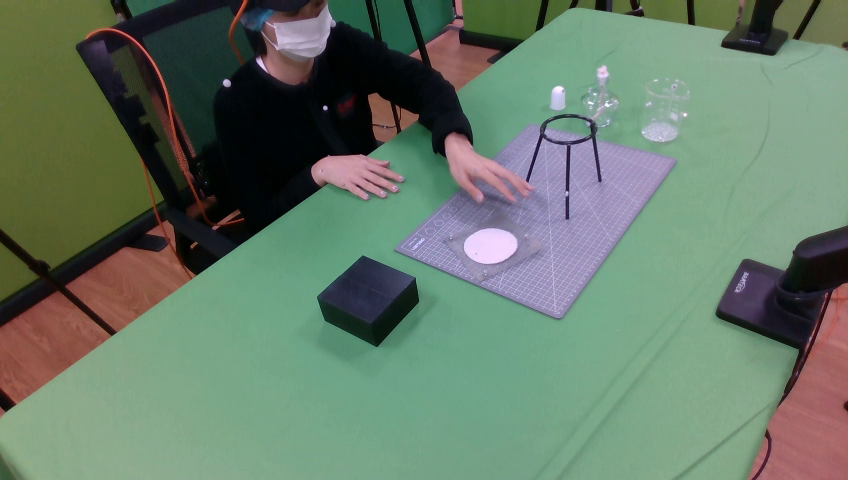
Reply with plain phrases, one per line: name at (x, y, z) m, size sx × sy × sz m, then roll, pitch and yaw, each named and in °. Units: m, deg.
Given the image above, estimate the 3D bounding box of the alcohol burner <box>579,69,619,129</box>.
alcohol burner at (0.345, -0.280, 1.184) m, size 0.078 × 0.119 × 0.077 m, roll -4°, pitch 42°, yaw 4°

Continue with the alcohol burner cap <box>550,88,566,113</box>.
alcohol burner cap at (0.282, -0.296, 1.270) m, size 0.034 × 0.048 × 0.033 m, roll -4°, pitch 41°, yaw 4°

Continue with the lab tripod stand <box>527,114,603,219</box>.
lab tripod stand at (0.234, -0.129, 1.002) m, size 0.148 × 0.132 × 0.147 m, roll -6°, pitch 40°, yaw 6°

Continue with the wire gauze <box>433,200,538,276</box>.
wire gauze at (0.096, -0.004, 0.949) m, size 0.120 × 0.011 × 0.125 m, roll 29°, pitch 58°, yaw 34°

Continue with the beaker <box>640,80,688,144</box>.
beaker at (0.446, -0.235, 1.126) m, size 0.074 × 0.101 × 0.083 m, roll -34°, pitch 47°, yaw -27°
